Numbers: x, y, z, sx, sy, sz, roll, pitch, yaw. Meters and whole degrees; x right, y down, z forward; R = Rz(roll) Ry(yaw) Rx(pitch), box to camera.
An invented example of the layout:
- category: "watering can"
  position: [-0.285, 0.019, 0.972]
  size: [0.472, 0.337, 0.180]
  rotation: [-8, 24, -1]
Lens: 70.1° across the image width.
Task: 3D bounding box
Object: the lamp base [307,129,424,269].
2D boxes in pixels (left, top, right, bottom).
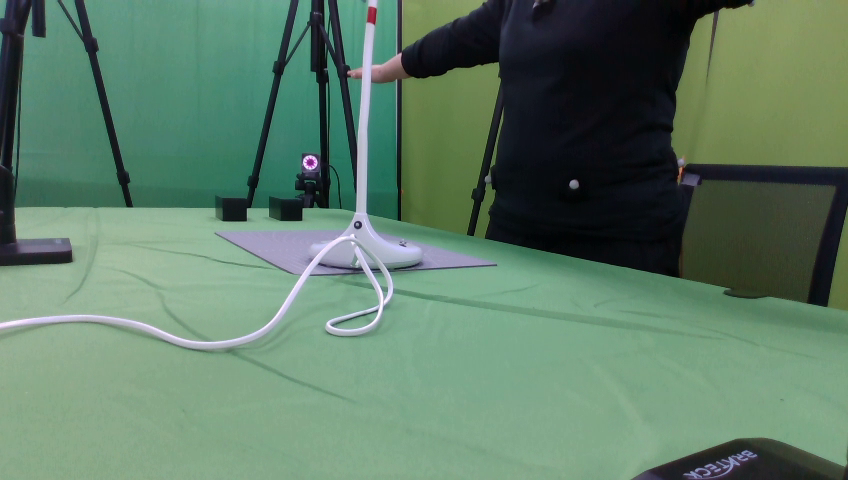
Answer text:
- category: "lamp base"
  position: [-0.076, -0.057, 0.811]
  size: [0.161, 0.180, 0.179]
  rotation: [2, 10, -4]
